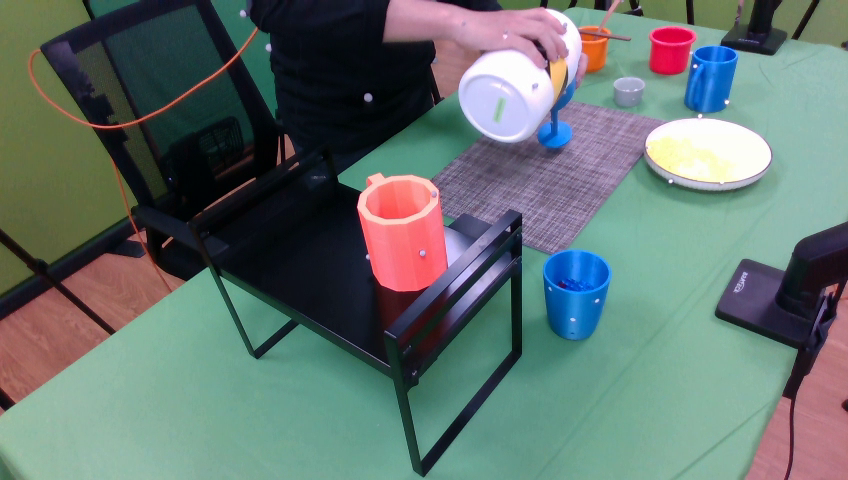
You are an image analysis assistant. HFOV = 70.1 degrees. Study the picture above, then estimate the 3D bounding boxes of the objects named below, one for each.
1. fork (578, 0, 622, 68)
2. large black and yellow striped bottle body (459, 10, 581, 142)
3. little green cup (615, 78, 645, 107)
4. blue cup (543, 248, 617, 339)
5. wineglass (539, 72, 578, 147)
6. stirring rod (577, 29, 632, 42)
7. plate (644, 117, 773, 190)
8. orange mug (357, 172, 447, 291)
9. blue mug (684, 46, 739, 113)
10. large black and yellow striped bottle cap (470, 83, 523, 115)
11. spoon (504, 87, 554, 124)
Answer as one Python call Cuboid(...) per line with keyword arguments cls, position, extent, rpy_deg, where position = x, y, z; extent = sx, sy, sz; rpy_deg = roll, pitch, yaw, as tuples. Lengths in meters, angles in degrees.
Cuboid(cls="fork", position=(0.409, -0.484, 1.381), extent=(0.028, 0.019, 0.207), rpy_deg=(37, 101, 46))
Cuboid(cls="large black and yellow striped bottle body", position=(0.151, -0.251, 0.911), extent=(0.130, 0.131, 0.184), rpy_deg=(20, 56, 29))
Cuboid(cls="little green cup", position=(0.426, -0.306, 1.257), extent=(0.061, 0.039, 0.061), rpy_deg=(-4, 40, 4))
Cuboid(cls="blue cup", position=(0.199, 0.076, 0.797), extent=(0.092, 0.100, 0.092), rpy_deg=(-4, 39, 4))
Cuboid(cls="wineglass", position=(0.234, -0.247, 1.071), extent=(0.073, 0.173, 0.073), rpy_deg=(-5, 57, 8))
Cuboid(cls="stirring rod", position=(0.381, -0.463, 1.356), extent=(0.175, 0.006, 0.014), rpy_deg=(22, 48, 30))
Cuboid(cls="plate", position=(0.495, -0.149, 1.063), extent=(0.209, 0.038, 0.208), rpy_deg=(-5, 40, 4))
Cuboid(cls="orange mug", position=(-0.030, -0.018, 0.669), extent=(0.084, 0.101, 0.125), rpy_deg=(-23, 47, -16))
Cuboid(cls="blue mug", position=(0.556, -0.310, 1.190), extent=(0.117, 0.106, 0.081), rpy_deg=(-32, 46, -25))
Cuboid(cls="large black and yellow striped bottle cap", position=(0.157, -0.308, 1.316), extent=(0.115, 0.019, 0.114), rpy_deg=(-7, 39, 6))
Cuboid(cls="spoon", position=(0.227, -0.285, 1.269), extent=(0.041, 0.022, 0.194), rpy_deg=(5, 38, 43))
